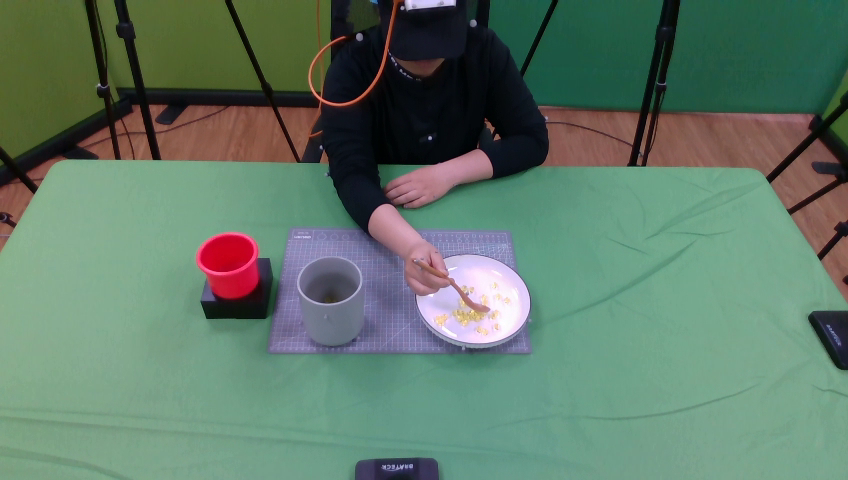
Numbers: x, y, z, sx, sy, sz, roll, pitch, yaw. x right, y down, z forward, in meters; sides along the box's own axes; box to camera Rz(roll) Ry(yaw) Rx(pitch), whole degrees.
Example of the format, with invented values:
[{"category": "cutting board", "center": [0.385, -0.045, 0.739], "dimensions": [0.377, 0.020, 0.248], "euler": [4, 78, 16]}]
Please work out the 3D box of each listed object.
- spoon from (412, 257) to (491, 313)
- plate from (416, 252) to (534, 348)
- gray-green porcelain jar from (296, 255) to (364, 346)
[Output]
[{"category": "spoon", "center": [0.047, 0.076, 1.014], "dimensions": [0.021, 0.195, 0.041], "euler": [-52, 33, -5]}, {"category": "plate", "center": [0.090, 0.109, 1.084], "dimensions": [0.208, 0.039, 0.206], "euler": [2, 46, -2]}, {"category": "gray-green porcelain jar", "center": [-0.153, 0.106, 1.008], "dimensions": [0.106, 0.127, 0.105], "euler": [2, 46, -2]}]
